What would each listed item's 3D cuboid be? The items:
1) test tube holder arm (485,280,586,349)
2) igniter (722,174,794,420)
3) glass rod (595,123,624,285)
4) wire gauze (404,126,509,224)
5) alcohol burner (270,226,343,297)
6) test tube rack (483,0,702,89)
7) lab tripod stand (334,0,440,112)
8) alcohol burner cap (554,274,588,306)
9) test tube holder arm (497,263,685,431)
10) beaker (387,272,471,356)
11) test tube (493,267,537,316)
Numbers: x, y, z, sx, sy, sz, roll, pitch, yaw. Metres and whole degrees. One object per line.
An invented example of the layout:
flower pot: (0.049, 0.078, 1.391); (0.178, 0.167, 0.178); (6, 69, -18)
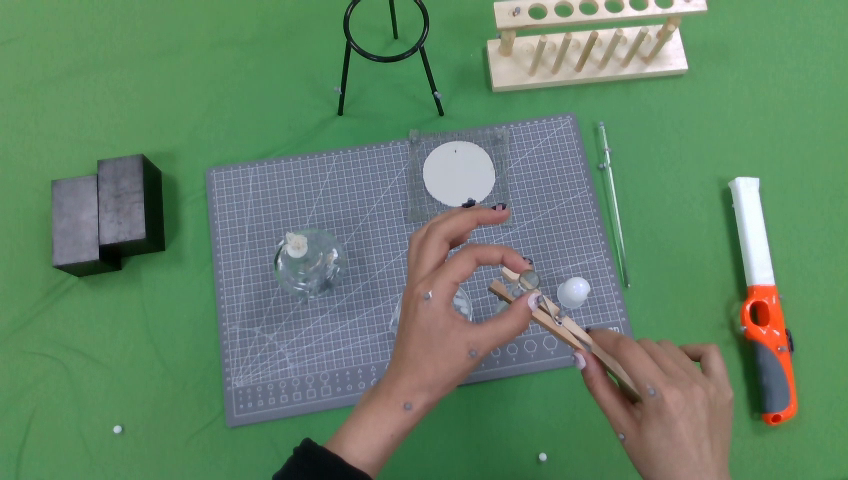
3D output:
test tube holder arm: (0.087, 0.058, 0.467); (0.087, 0.015, 0.010); (31, 80, 7)
igniter: (0.372, 0.058, 0.677); (0.057, 0.025, 0.275); (1, 75, -10)
glass rod: (0.218, -0.045, 0.712); (0.008, 0.008, 0.198); (-4, 77, -2)
wire gauze: (0.038, -0.079, 0.718); (0.125, 0.011, 0.121); (2, 76, -1)
alcohol burner: (-0.127, 0.018, 0.635); (0.078, 0.120, 0.077); (0, 74, 2)
test tube rack: (0.197, -0.242, 0.725); (0.242, 0.085, 0.066); (-6, 75, -2)
lab tripod stand: (-0.045, -0.208, 0.689); (0.148, 0.132, 0.147); (0, 77, 0)
alcohol burner cap: (0.163, 0.053, 0.666); (0.034, 0.048, 0.033); (0, 74, 0)
test tube holder arm: (0.125, 0.080, 0.462); (0.178, 0.015, 0.013); (41, 82, 8)
beaker: (0.005, 0.082, 0.627); (0.084, 0.101, 0.073); (-17, 75, -4)
test tube: (0.071, 0.045, 0.492); (0.017, 0.151, 0.017); (0, 75, 0)
